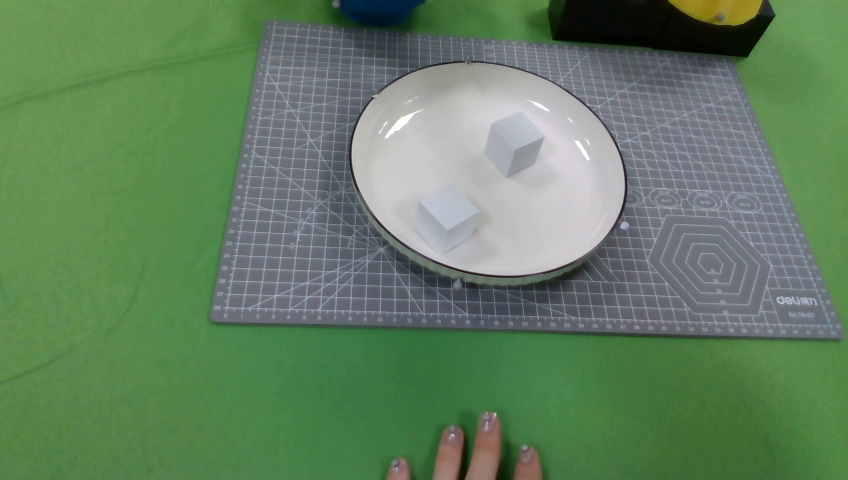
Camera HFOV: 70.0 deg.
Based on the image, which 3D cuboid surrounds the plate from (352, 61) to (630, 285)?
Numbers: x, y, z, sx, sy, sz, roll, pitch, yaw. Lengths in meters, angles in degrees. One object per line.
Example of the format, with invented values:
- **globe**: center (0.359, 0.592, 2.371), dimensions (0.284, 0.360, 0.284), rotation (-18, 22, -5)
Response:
- **plate**: center (0.050, -0.052, 0.464), dimensions (0.208, 0.039, 0.205), rotation (3, 57, -5)

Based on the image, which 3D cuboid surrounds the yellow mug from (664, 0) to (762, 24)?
- **yellow mug**: center (0.254, -0.249, 0.542), dimensions (0.131, 0.064, 0.099), rotation (-12, 60, -13)

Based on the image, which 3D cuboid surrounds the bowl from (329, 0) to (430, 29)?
- **bowl**: center (-0.044, -0.251, 0.557), dimensions (0.151, 0.077, 0.150), rotation (3, 57, -4)
